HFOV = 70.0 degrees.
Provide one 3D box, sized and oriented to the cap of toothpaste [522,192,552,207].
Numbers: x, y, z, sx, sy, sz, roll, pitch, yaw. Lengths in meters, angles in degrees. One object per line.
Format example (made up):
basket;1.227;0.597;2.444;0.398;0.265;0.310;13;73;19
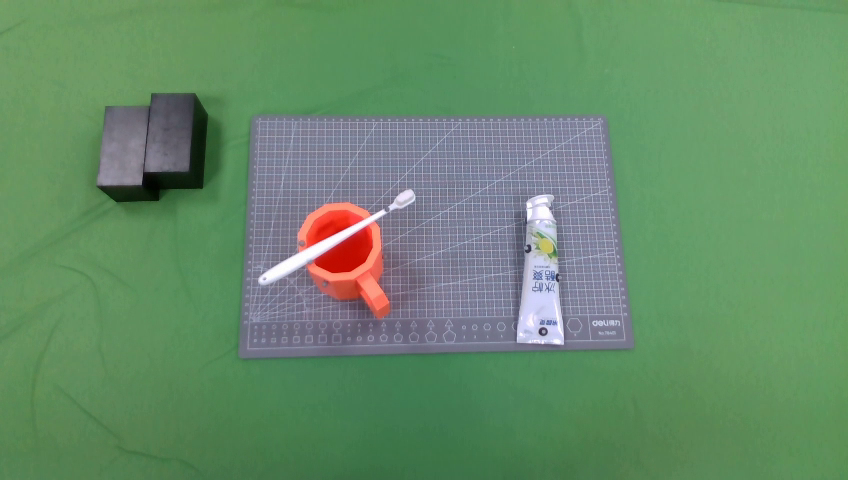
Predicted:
cap of toothpaste;0.136;-0.047;0.725;0.037;0.037;0.011;-9;71;-6

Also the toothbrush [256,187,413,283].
toothbrush;-0.089;-0.006;0.616;0.182;0.017;0.014;-31;82;-11

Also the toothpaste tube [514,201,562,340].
toothpaste tube;0.133;0.033;0.709;0.055;0.035;0.164;0;78;5

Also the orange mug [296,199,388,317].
orange mug;-0.081;0.025;0.661;0.083;0.101;0.125;-34;74;-12
